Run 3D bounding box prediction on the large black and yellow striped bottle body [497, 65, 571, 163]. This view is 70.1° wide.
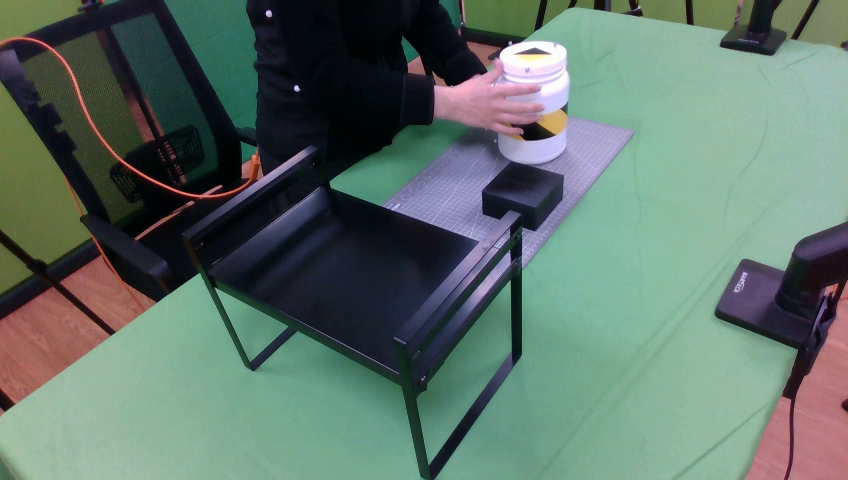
[{"bbox_3d":[0.200,-0.249,1.107,0.131,0.185,0.130,-5,41,5],"label":"large black and yellow striped bottle body"}]

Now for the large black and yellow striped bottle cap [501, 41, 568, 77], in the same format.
[{"bbox_3d":[0.191,-0.316,1.050,0.115,0.019,0.114,-5,38,4],"label":"large black and yellow striped bottle cap"}]
